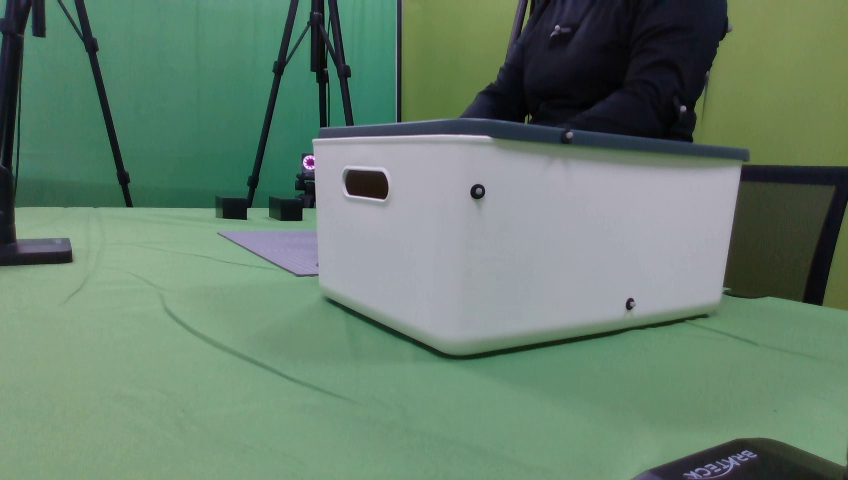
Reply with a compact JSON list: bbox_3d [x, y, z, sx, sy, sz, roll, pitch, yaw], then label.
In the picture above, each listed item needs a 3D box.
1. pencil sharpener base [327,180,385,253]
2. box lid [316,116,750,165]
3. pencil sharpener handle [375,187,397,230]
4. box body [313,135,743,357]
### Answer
[{"bbox_3d":[-0.103,-0.037,0.932,0.077,0.107,0.061,-1,8,-30],"label":"pencil sharpener base"},{"bbox_3d":[0.106,-0.089,0.593,0.374,0.015,0.262,-1,7,-35],"label":"box lid"},{"bbox_3d":[-0.058,-0.050,0.956,0.031,0.067,0.036,-1,7,-30],"label":"pencil sharpener handle"},{"bbox_3d":[0.099,-0.011,0.596,0.366,0.160,0.253,-2,8,-34],"label":"box body"}]
